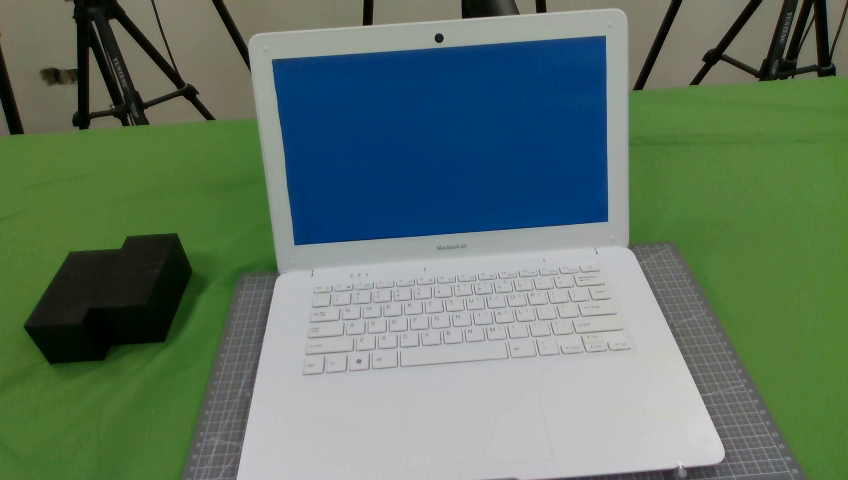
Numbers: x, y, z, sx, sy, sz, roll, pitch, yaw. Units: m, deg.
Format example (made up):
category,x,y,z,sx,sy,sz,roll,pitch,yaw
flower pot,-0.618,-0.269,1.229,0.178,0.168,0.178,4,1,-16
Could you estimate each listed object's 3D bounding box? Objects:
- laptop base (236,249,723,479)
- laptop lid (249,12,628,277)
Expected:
category,x,y,z,sx,sy,sz,roll,pitch,yaw
laptop base,0.035,0.102,0.517,0.354,0.023,0.233,-4,42,-1
laptop lid,0.020,-0.085,0.584,0.357,0.242,0.013,-6,11,-1
